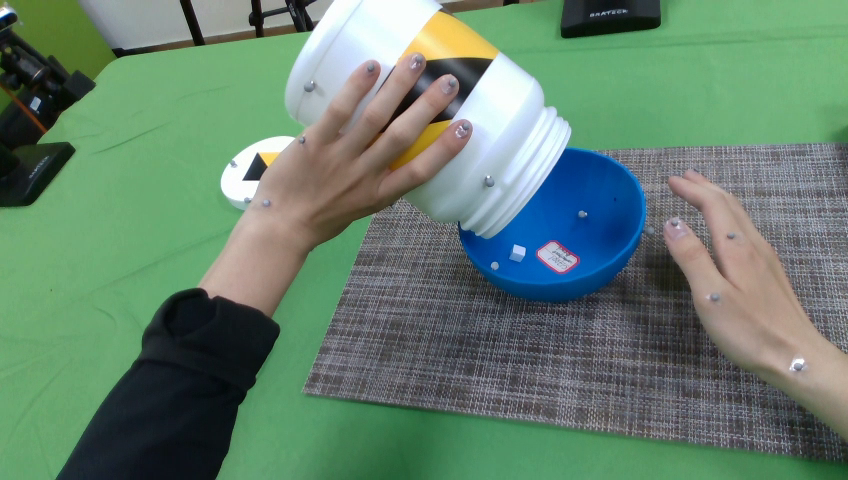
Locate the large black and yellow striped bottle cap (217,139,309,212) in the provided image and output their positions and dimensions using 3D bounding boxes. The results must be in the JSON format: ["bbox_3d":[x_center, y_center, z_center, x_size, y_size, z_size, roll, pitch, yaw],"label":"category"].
[{"bbox_3d":[-0.197,-0.081,0.742,0.115,0.019,0.114,-9,48,10],"label":"large black and yellow striped bottle cap"}]

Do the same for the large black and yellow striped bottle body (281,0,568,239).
[{"bbox_3d":[0.003,-0.096,0.457,0.184,0.131,0.130,35,61,-7],"label":"large black and yellow striped bottle body"}]

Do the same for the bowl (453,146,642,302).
[{"bbox_3d":[0.107,-0.001,0.515,0.151,0.077,0.150,-10,48,11],"label":"bowl"}]
